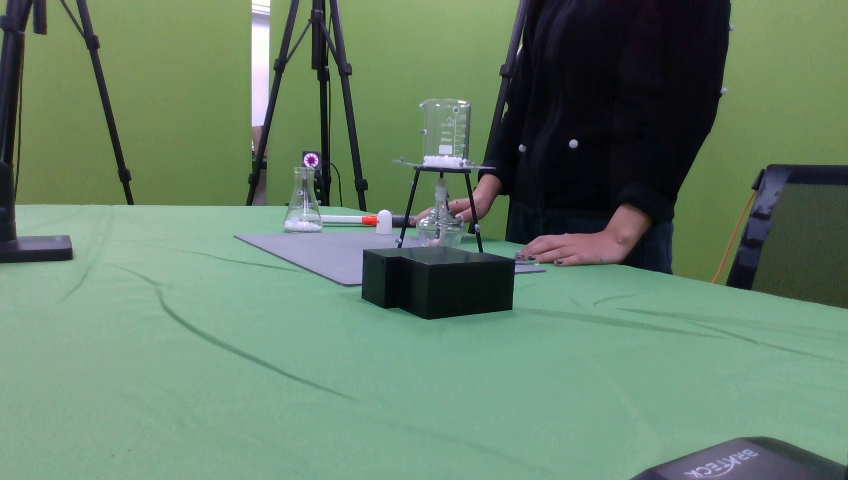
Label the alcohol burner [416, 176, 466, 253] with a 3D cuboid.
[{"bbox_3d":[0.027,-0.039,0.935,0.078,0.119,0.078,2,9,0],"label":"alcohol burner"}]

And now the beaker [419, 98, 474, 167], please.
[{"bbox_3d":[0.032,-0.161,0.913,0.084,0.100,0.074,1,7,-10],"label":"beaker"}]

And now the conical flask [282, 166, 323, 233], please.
[{"bbox_3d":[-0.225,-0.076,1.129,0.075,0.122,0.075,2,8,0],"label":"conical flask"}]

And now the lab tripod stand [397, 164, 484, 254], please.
[{"bbox_3d":[0.029,-0.049,0.930,0.148,0.131,0.148,4,7,0],"label":"lab tripod stand"}]

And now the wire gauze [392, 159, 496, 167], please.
[{"bbox_3d":[0.032,-0.114,0.923,0.124,0.011,0.122,5,5,32],"label":"wire gauze"}]

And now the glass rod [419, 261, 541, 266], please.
[{"bbox_3d":[0.080,0.032,0.808,0.201,0.008,0.008,1,6,-32],"label":"glass rod"}]

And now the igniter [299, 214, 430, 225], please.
[{"bbox_3d":[-0.123,-0.044,1.281,0.278,0.025,0.057,0,-2,-19],"label":"igniter"}]

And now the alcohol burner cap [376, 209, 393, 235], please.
[{"bbox_3d":[-0.075,-0.035,1.150,0.034,0.048,0.034,2,7,0],"label":"alcohol burner cap"}]
